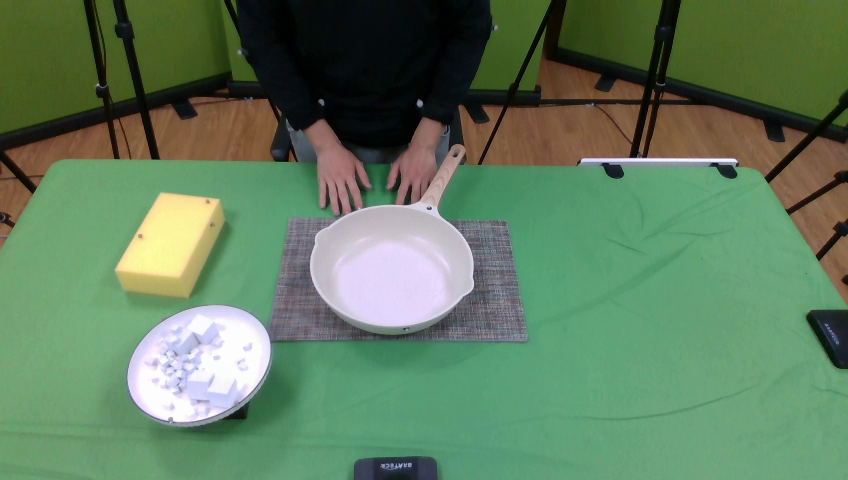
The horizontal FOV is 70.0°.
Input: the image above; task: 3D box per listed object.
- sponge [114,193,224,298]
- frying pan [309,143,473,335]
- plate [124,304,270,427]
[{"bbox_3d":[-0.467,0.005,1.129,0.118,0.061,0.205,6,45,1],"label":"sponge"},{"bbox_3d":[-0.018,-0.022,1.155,0.306,0.103,0.486,20,57,13],"label":"frying pan"},{"bbox_3d":[-0.336,0.189,0.913,0.208,0.039,0.206,1,46,-1],"label":"plate"}]
